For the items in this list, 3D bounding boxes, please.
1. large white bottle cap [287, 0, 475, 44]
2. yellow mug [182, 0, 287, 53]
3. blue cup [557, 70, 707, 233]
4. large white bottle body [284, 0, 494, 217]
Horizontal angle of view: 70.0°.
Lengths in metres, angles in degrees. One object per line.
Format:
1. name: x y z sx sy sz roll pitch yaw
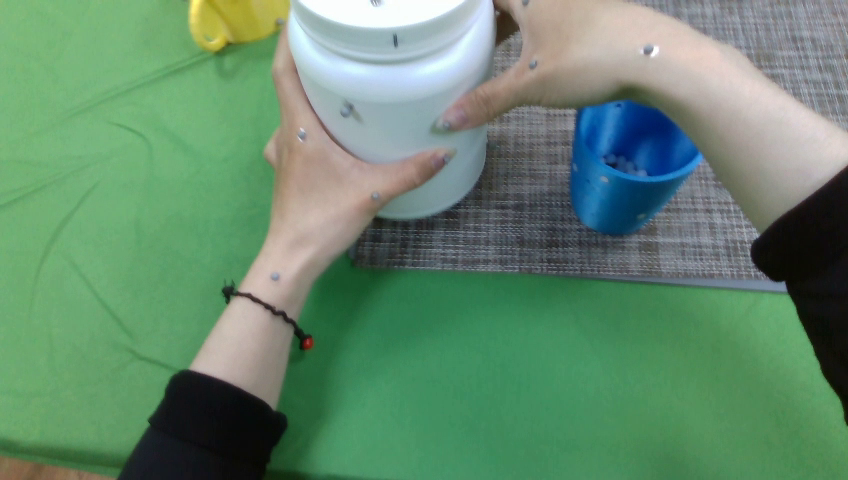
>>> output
1. large white bottle cap: -0.024 -0.156 0.340 0.115 0.018 0.114 0 61 1
2. yellow mug: -0.188 -0.231 0.562 0.100 0.064 0.130 13 66 10
3. blue cup: 0.140 -0.053 0.429 0.092 0.101 0.092 -2 64 5
4. large white bottle body: -0.021 -0.114 0.415 0.130 0.186 0.129 0 61 1
